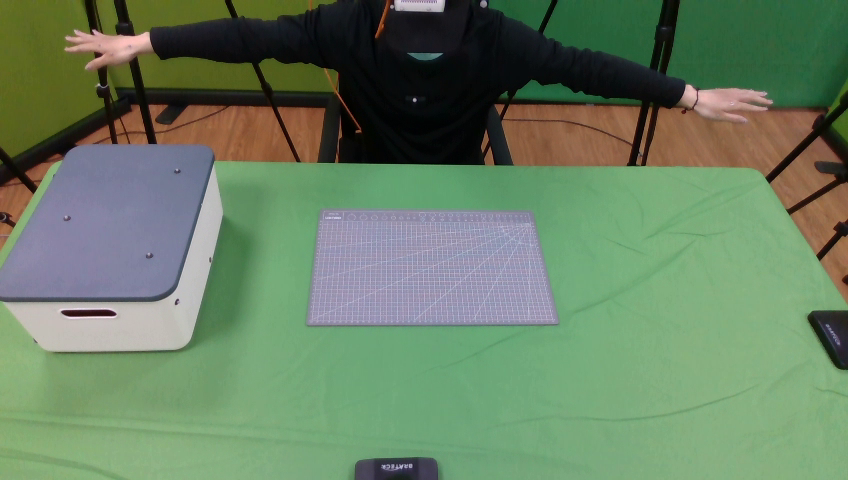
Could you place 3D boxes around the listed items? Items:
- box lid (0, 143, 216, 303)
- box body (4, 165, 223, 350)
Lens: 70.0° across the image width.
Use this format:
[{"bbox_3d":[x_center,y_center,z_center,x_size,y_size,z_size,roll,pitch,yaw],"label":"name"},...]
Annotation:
[{"bbox_3d":[-0.506,-0.045,1.002,0.263,0.015,0.369,0,46,-5],"label":"box lid"},{"bbox_3d":[-0.510,0.008,1.054,0.254,0.161,0.361,-1,46,-5],"label":"box body"}]
